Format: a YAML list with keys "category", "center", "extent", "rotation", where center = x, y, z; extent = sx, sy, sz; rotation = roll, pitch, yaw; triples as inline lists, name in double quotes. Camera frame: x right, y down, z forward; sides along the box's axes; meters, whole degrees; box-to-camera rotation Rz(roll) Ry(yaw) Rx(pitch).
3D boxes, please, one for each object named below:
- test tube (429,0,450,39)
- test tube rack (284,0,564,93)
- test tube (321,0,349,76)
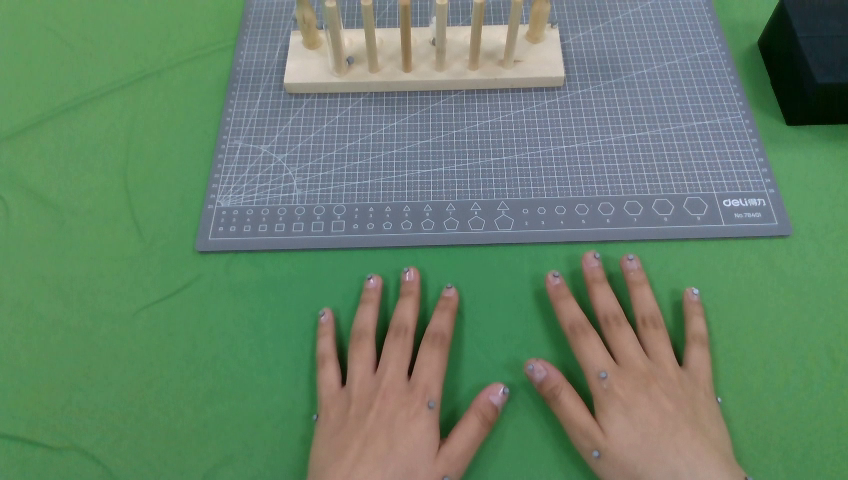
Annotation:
- category: "test tube"
  center: [0.016, -0.222, 0.476]
  extent: [0.017, 0.151, 0.017]
  rotation: [2, 57, -3]
- category: "test tube rack"
  center: [-0.002, -0.181, 0.511]
  extent: [0.242, 0.086, 0.066]
  rotation: [-1, 60, 1]
- category: "test tube"
  center: [-0.072, -0.186, 0.465]
  extent: [0.017, 0.151, 0.017]
  rotation: [1, 59, -1]
